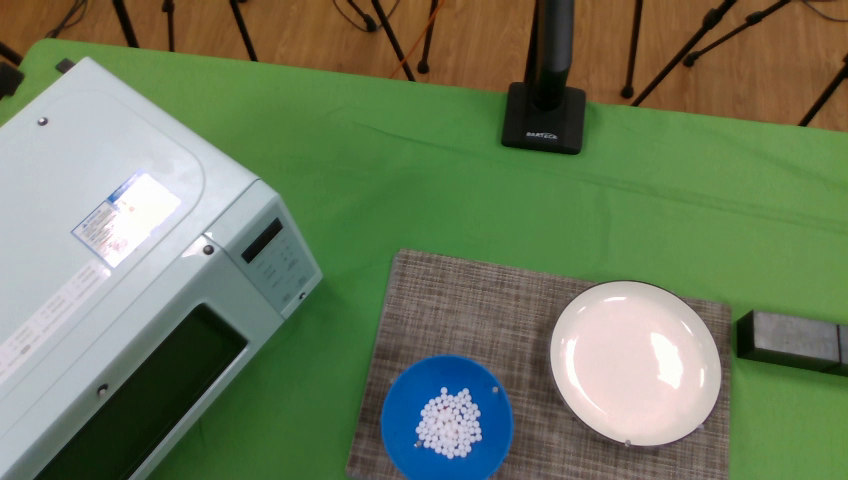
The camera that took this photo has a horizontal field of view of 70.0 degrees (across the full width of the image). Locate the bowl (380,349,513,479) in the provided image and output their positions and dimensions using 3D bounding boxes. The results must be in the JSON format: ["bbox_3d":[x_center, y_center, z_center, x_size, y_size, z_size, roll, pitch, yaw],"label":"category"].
[{"bbox_3d":[0.027,0.212,0.717,0.151,0.077,0.150,-1,66,2],"label":"bowl"}]

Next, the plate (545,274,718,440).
[{"bbox_3d":[0.255,0.146,0.760,0.207,0.039,0.206,-1,67,2],"label":"plate"}]

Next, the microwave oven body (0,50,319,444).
[{"bbox_3d":[-0.397,0.066,0.697,0.324,0.262,0.441,35,73,15],"label":"microwave oven body"}]

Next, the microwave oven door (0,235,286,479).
[{"bbox_3d":[-0.307,0.174,0.642,0.039,0.245,0.355,34,72,16],"label":"microwave oven door"}]

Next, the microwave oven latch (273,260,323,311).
[{"bbox_3d":[-0.167,0.055,0.799,0.030,0.030,0.079,36,73,16],"label":"microwave oven latch"}]
